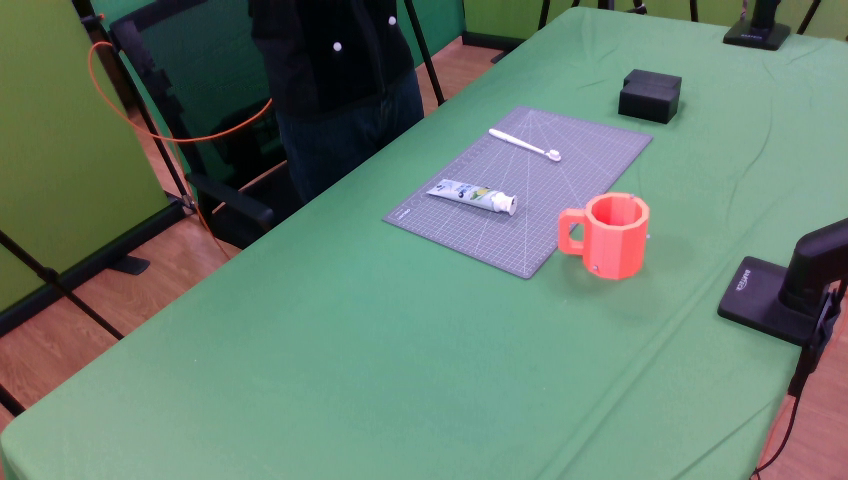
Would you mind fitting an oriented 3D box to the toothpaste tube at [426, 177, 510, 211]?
[{"bbox_3d":[0.083,-0.081,1.054,0.164,0.034,0.055,18,40,34],"label":"toothpaste tube"}]

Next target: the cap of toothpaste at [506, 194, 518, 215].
[{"bbox_3d":[0.146,-0.060,1.007,0.011,0.037,0.037,14,46,22],"label":"cap of toothpaste"}]

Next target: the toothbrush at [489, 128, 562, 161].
[{"bbox_3d":[0.191,-0.188,1.167,0.014,0.017,0.180,-44,48,-16],"label":"toothbrush"}]

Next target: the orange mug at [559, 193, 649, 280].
[{"bbox_3d":[0.261,-0.008,0.884,0.126,0.101,0.083,9,43,14],"label":"orange mug"}]
